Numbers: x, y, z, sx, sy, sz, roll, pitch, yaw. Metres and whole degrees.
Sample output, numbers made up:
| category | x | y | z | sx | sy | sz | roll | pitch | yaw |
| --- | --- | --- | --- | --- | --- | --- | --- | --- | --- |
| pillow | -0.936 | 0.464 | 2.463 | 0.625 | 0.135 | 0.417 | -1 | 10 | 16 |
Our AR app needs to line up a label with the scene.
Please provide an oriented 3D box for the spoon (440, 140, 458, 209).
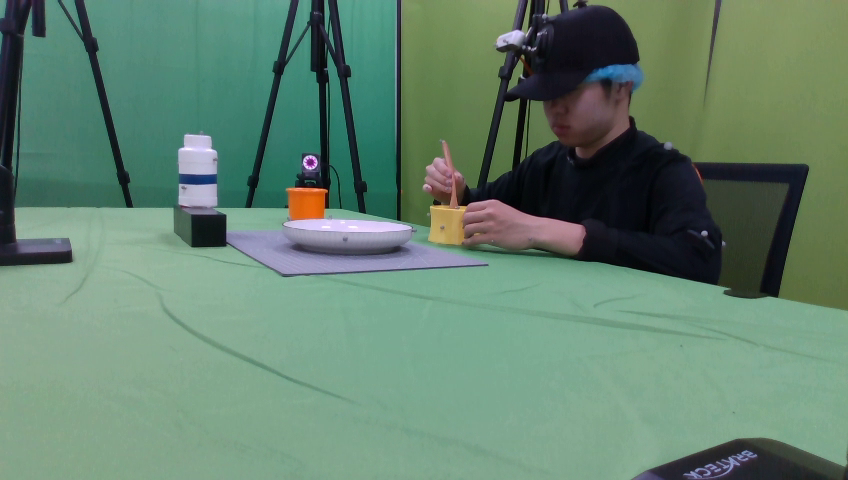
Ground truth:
| category | x | y | z | sx | sy | sz | roll | pitch | yaw |
| --- | --- | --- | --- | --- | --- | --- | --- | --- | --- |
| spoon | 0.051 | -0.099 | 1.127 | 0.042 | 0.193 | 0.021 | 5 | -17 | -37 |

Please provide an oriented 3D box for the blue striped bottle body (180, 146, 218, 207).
| category | x | y | z | sx | sy | sz | roll | pitch | yaw |
| --- | --- | --- | --- | --- | --- | --- | --- | --- | --- |
| blue striped bottle body | -0.392 | -0.119 | 1.053 | 0.063 | 0.120 | 0.063 | 2 | 8 | 0 |

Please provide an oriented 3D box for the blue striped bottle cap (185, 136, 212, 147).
| category | x | y | z | sx | sy | sz | roll | pitch | yaw |
| --- | --- | --- | --- | --- | --- | --- | --- | --- | --- |
| blue striped bottle cap | -0.390 | -0.169 | 1.047 | 0.044 | 0.020 | 0.044 | 4 | 10 | 0 |

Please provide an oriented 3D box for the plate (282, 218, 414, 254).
| category | x | y | z | sx | sy | sz | roll | pitch | yaw |
| --- | --- | --- | --- | --- | --- | --- | --- | --- | --- |
| plate | -0.121 | -0.007 | 0.971 | 0.208 | 0.039 | 0.207 | 2 | 7 | 0 |

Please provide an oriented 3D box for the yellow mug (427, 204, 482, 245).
| category | x | y | z | sx | sy | sz | roll | pitch | yaw |
| --- | --- | --- | --- | --- | --- | --- | --- | --- | --- |
| yellow mug | 0.062 | -0.028 | 1.111 | 0.100 | 0.064 | 0.130 | 0 | 9 | -20 |
